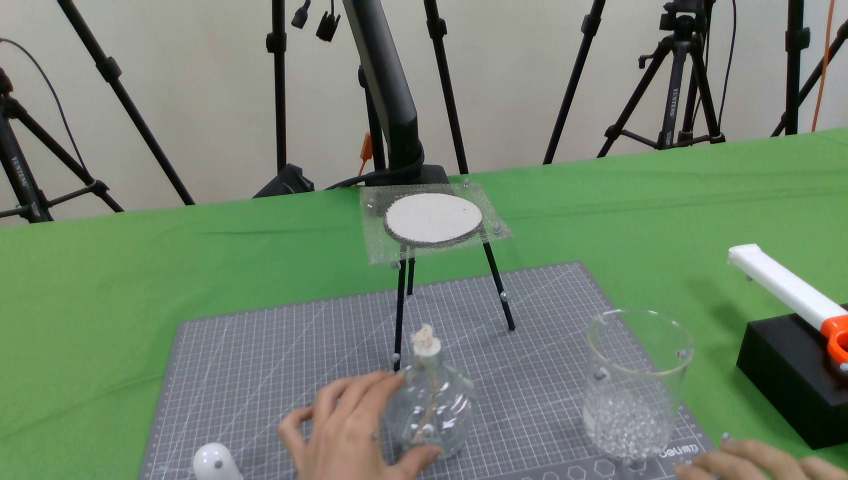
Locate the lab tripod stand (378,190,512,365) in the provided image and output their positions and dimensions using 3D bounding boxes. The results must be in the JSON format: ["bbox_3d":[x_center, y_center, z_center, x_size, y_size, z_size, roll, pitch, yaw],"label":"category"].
[{"bbox_3d":[0.012,0.029,0.577,0.148,0.132,0.147,-1,31,1],"label":"lab tripod stand"}]

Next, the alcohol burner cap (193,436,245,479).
[{"bbox_3d":[-0.157,0.169,0.459,0.034,0.048,0.033,-2,33,2],"label":"alcohol burner cap"}]

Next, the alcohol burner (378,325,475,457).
[{"bbox_3d":[0.001,0.111,0.470,0.078,0.120,0.077,-2,35,2],"label":"alcohol burner"}]

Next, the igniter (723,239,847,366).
[{"bbox_3d":[0.343,0.071,0.497,0.057,0.025,0.273,-9,30,-8],"label":"igniter"}]

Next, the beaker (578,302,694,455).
[{"bbox_3d":[0.157,0.108,0.471,0.074,0.101,0.083,-18,35,-21],"label":"beaker"}]

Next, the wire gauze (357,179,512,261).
[{"bbox_3d":[0.004,-0.025,0.537,0.122,0.011,0.124,-7,33,-7],"label":"wire gauze"}]
